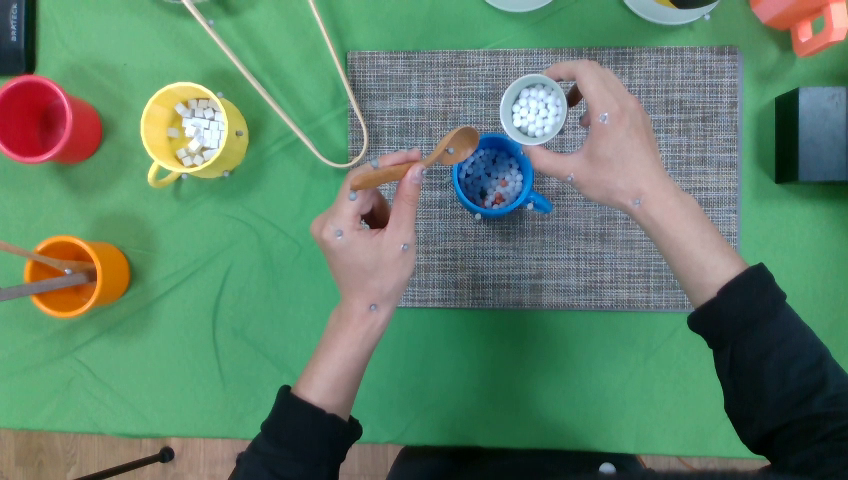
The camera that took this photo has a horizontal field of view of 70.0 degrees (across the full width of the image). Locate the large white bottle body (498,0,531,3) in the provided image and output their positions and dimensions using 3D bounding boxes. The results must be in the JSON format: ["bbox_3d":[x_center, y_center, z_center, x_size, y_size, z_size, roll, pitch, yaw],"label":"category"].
[{"bbox_3d":[0.100,-0.336,0.611,0.130,0.184,0.130,0,91,4],"label":"large white bottle body"}]

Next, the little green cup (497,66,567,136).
[{"bbox_3d":[0.101,-0.126,0.553,0.061,0.038,0.062,5,104,24],"label":"little green cup"}]

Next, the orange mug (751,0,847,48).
[{"bbox_3d":[0.410,-0.274,0.640,0.083,0.101,0.126,-9,87,4],"label":"orange mug"}]

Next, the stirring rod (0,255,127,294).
[{"bbox_3d":[-0.426,0.043,0.674,0.177,0.006,0.014,-15,86,-38],"label":"stirring rod"}]

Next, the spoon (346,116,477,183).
[{"bbox_3d":[-0.003,-0.072,0.493,0.021,0.193,0.042,34,121,13],"label":"spoon"}]

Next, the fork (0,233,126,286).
[{"bbox_3d":[-0.435,0.008,0.667,0.209,0.018,0.028,29,88,-41],"label":"fork"}]

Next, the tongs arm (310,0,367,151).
[{"bbox_3d":[-0.144,-0.285,0.682,0.028,0.027,0.388,-25,97,-5],"label":"tongs arm"}]

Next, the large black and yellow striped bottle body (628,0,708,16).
[{"bbox_3d":[0.271,-0.317,0.603,0.131,0.184,0.130,0,91,4],"label":"large black and yellow striped bottle body"}]

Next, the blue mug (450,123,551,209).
[{"bbox_3d":[0.085,-0.069,0.657,0.116,0.106,0.082,28,93,2],"label":"blue mug"}]

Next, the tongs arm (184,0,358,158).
[{"bbox_3d":[-0.215,-0.240,0.684,0.051,0.026,0.385,-38,97,0],"label":"tongs arm"}]

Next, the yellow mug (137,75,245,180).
[{"bbox_3d":[-0.275,-0.120,0.697,0.100,0.064,0.131,39,94,1],"label":"yellow mug"}]
